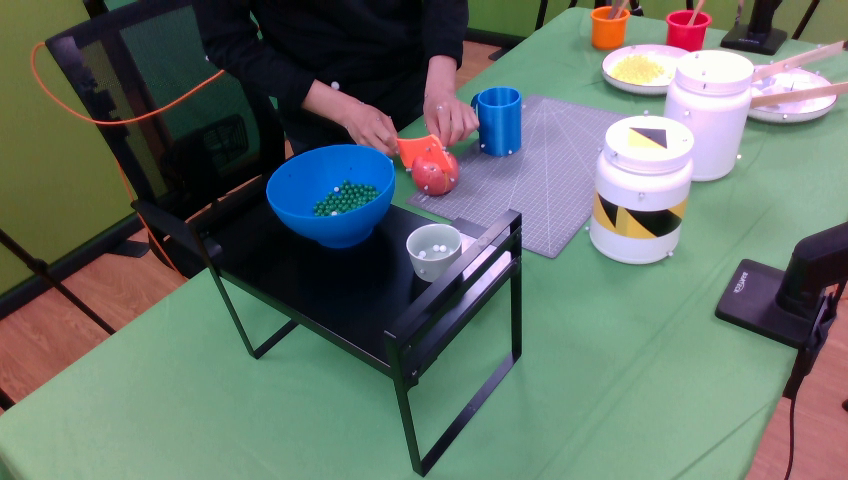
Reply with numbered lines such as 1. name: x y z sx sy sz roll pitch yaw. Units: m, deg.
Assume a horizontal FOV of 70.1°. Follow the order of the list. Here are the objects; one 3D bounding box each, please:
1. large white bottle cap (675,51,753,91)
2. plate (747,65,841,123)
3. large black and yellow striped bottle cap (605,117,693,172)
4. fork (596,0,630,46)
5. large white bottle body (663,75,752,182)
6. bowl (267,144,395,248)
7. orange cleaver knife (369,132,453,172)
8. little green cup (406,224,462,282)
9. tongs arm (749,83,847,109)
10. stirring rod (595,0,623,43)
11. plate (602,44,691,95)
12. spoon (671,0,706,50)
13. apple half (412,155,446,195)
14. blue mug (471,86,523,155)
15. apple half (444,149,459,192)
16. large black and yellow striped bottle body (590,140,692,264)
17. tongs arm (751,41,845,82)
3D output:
1. large white bottle cap: 0.463 -0.271 0.967 0.115 0.018 0.114 -4 40 3
2. plate: 0.694 -0.283 1.189 0.207 0.039 0.206 -4 40 4
3. large black and yellow striped bottle cap: 0.309 -0.134 0.833 0.115 0.019 0.114 -5 40 5
4. fork: 0.481 -0.556 1.452 0.028 0.019 0.207 40 103 41
5. large white bottle body: 0.472 -0.207 1.022 0.130 0.185 0.130 -4 41 4
6. bowl: -0.104 -0.043 0.726 0.151 0.077 0.150 -4 40 4
7. orange cleaver knife: -0.026 -0.158 1.077 0.012 0.077 0.209 -36 33 -30
8. little green cup: 0.012 0.015 0.668 0.061 0.039 0.061 -4 40 4
9. tongs arm: 0.734 -0.280 1.133 0.388 0.028 0.028 -9 47 -5
10. stirring rod: 0.460 -0.556 1.459 0.014 0.006 0.176 30 93 23
11. plate: 0.495 -0.366 1.317 0.209 0.038 0.208 -4 40 4
12. spoon: 0.628 -0.520 1.394 0.041 0.022 0.193 30 96 34
13. apple half: 0.003 -0.107 1.059 0.080 0.081 0.033 28 52 34
14. blue mug: 0.135 -0.235 1.163 0.082 0.106 0.115 -36 48 -28
15. apple half: 0.033 -0.128 1.081 0.053 0.075 0.080 -31 41 -33
16. large black and yellow striped bottle body: 0.317 -0.071 0.889 0.131 0.185 0.130 -4 41 4
17. tongs arm: 0.708 -0.331 1.194 0.386 0.026 0.050 -19 45 -16
